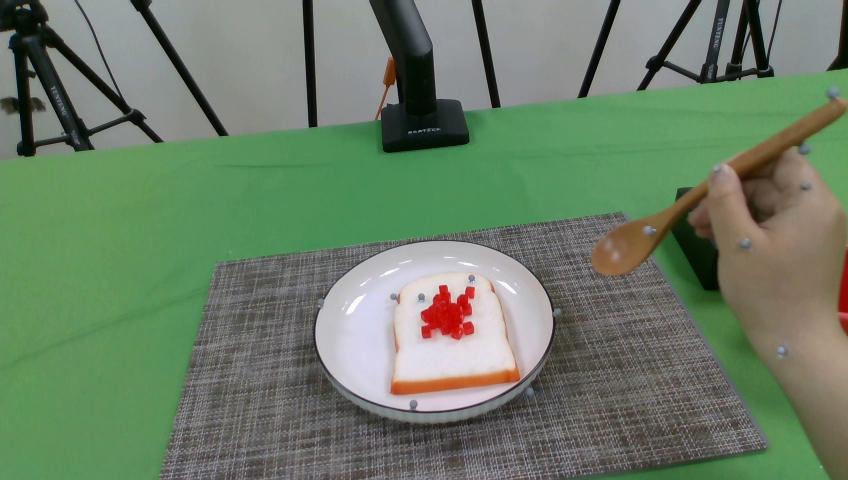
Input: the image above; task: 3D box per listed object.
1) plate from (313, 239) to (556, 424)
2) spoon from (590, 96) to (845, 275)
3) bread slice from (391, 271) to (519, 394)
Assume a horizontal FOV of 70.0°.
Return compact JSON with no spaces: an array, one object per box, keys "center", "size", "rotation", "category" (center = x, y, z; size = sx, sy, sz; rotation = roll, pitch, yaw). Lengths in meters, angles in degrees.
[{"center":[0.009,0.076,0.533],"size":[0.209,0.038,0.207],"rotation":[-3,39,3],"category":"plate"},{"center":[0.175,-0.028,0.391],"size":[0.022,0.194,0.041],"rotation":[17,56,-17],"category":"spoon"},{"center":[0.021,0.076,0.535],"size":[0.105,0.019,0.130],"rotation":[-5,39,-1],"category":"bread slice"}]
